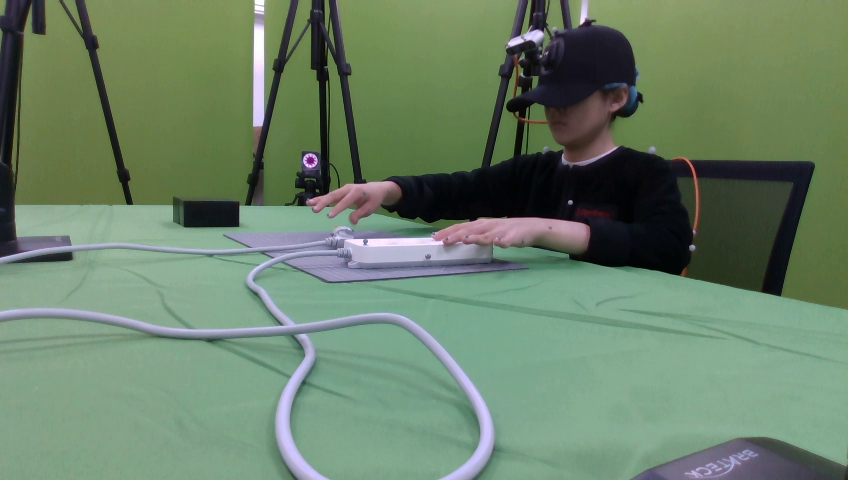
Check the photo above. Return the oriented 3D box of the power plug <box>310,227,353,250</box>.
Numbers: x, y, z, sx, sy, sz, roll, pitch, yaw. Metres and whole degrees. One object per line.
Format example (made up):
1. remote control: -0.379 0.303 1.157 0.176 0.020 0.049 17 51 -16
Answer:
1. power plug: -0.141 -0.008 0.918 0.073 0.035 0.052 22 11 -37

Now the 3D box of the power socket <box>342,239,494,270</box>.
1. power socket: -0.006 0.018 0.830 0.228 0.032 0.072 -1 8 -28
